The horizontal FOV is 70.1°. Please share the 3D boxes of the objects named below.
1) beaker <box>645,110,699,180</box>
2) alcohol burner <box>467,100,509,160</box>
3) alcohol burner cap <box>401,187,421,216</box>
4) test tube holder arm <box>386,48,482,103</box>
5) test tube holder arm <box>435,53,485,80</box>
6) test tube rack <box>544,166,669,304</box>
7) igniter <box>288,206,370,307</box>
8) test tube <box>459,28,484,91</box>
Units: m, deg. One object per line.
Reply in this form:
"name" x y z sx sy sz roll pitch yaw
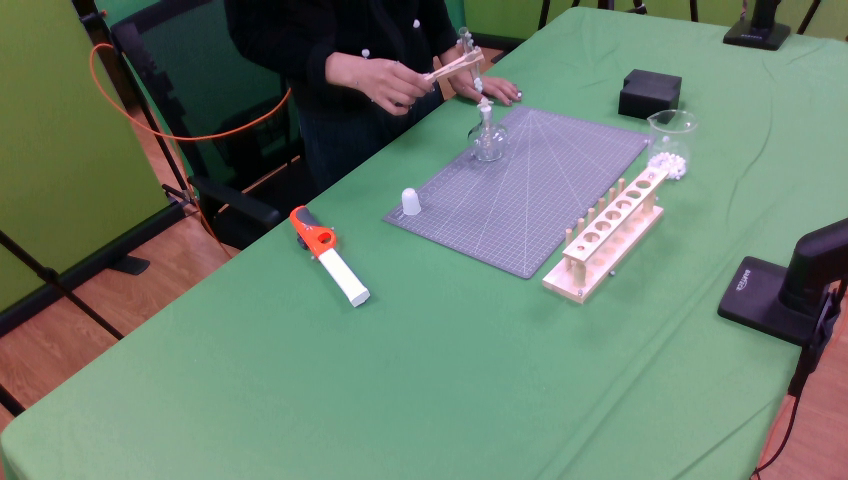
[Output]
"beaker" 0.417 -0.160 1.032 0.083 0.101 0.074 25 51 34
"alcohol burner" 0.118 -0.210 1.131 0.078 0.119 0.077 -6 42 6
"alcohol burner cap" -0.025 -0.070 1.048 0.034 0.048 0.033 -5 41 5
"test tube holder arm" 0.017 -0.280 1.031 0.178 0.015 0.013 -24 61 9
"test tube holder arm" 0.060 -0.292 1.020 0.087 0.015 0.010 -18 63 13
"test tube rack" 0.274 -0.018 0.903 0.066 0.085 0.243 26 51 35
"igniter" -0.163 0.017 0.986 0.057 0.025 0.274 -33 45 -12
"test tube" 0.081 -0.302 1.022 0.017 0.151 0.017 -6 65 14
